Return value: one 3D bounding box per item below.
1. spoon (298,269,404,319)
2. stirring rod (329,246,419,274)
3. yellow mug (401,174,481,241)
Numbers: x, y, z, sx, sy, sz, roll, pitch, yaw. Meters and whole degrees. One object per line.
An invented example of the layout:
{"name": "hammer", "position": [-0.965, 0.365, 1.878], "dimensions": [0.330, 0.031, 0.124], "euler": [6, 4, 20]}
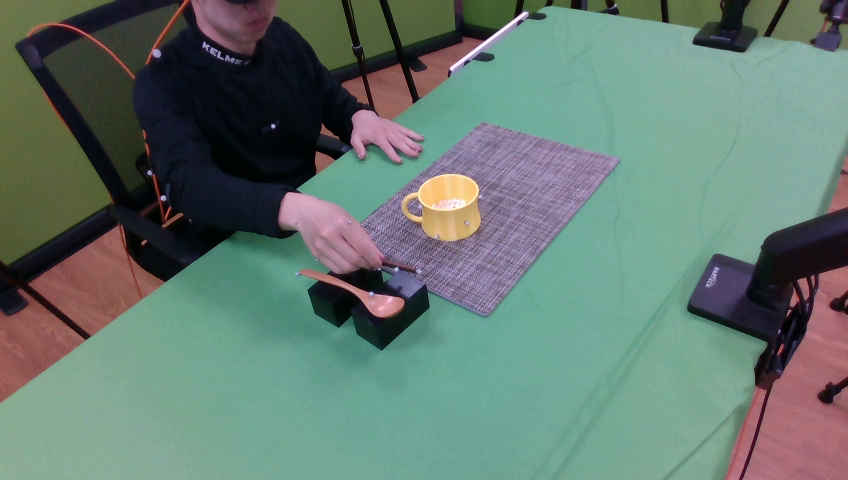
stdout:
{"name": "spoon", "position": [-0.106, 0.068, 0.831], "dimensions": [0.192, 0.022, 0.042], "euler": [21, 49, 32]}
{"name": "stirring rod", "position": [-0.074, 0.027, 0.853], "dimensions": [0.174, 0.014, 0.006], "euler": [12, 64, 40]}
{"name": "yellow mug", "position": [0.026, -0.054, 0.989], "dimensions": [0.130, 0.064, 0.099], "euler": [-1, 41, 8]}
